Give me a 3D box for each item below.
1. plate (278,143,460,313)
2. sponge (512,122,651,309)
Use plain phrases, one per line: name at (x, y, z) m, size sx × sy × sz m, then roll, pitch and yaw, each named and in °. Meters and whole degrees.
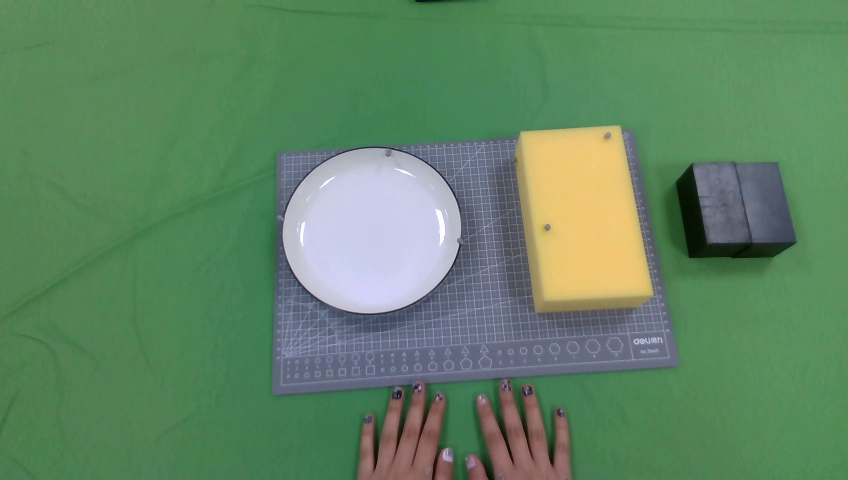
plate at (-0.062, -0.013, 0.706) m, size 0.209 × 0.038 × 0.207 m, roll 0°, pitch 71°, yaw 0°
sponge at (0.175, -0.029, 0.699) m, size 0.118 × 0.061 × 0.205 m, roll -5°, pitch 71°, yaw -1°
